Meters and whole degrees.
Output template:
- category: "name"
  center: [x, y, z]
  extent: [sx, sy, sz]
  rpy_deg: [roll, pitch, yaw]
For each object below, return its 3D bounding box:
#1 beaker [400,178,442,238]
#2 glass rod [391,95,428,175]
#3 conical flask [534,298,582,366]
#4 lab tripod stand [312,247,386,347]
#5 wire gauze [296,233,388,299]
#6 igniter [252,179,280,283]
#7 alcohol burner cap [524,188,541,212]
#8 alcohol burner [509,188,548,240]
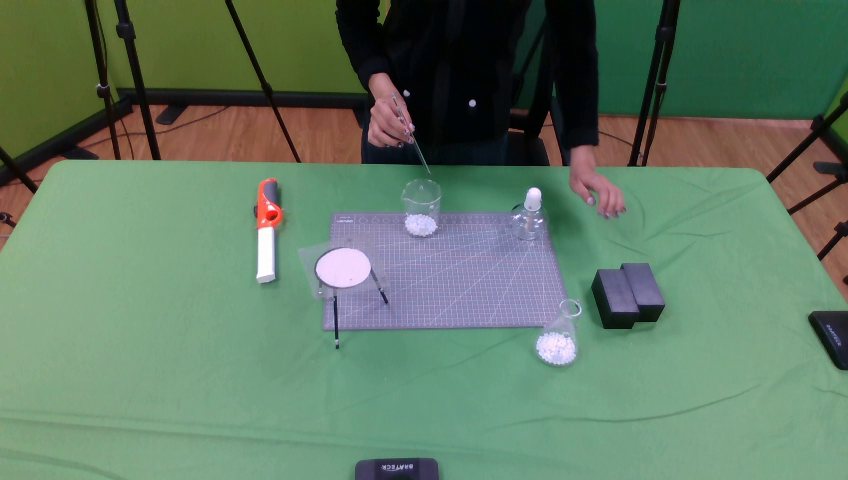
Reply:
- category: "beaker"
  center: [-0.008, -0.059, 1.200]
  extent: [0.084, 0.101, 0.073]
  rpy_deg: [-14, 48, -17]
- category: "glass rod"
  center: [-0.025, -0.194, 1.143]
  extent: [0.008, 0.201, 0.008]
  rpy_deg: [-11, 49, 14]
- category: "conical flask"
  center: [0.229, 0.149, 1.005]
  extent: [0.075, 0.122, 0.075]
  rpy_deg: [2, 46, -2]
- category: "lab tripod stand"
  center: [-0.134, 0.085, 1.028]
  extent: [0.148, 0.132, 0.147]
  rpy_deg: [2, 45, -1]
- category: "wire gauze"
  center: [-0.133, 0.041, 0.977]
  extent: [0.125, 0.011, 0.120]
  rpy_deg: [-12, 47, -16]
- category: "igniter"
  center: [-0.312, -0.027, 1.197]
  extent: [0.057, 0.025, 0.274]
  rpy_deg: [-12, 47, -2]
- category: "alcohol burner cap"
  center: [0.212, -0.081, 1.177]
  extent: [0.034, 0.048, 0.033]
  rpy_deg: [-2, 54, 3]
- category: "alcohol burner"
  center: [0.211, -0.057, 1.204]
  extent: [0.078, 0.120, 0.077]
  rpy_deg: [1, 47, -1]
